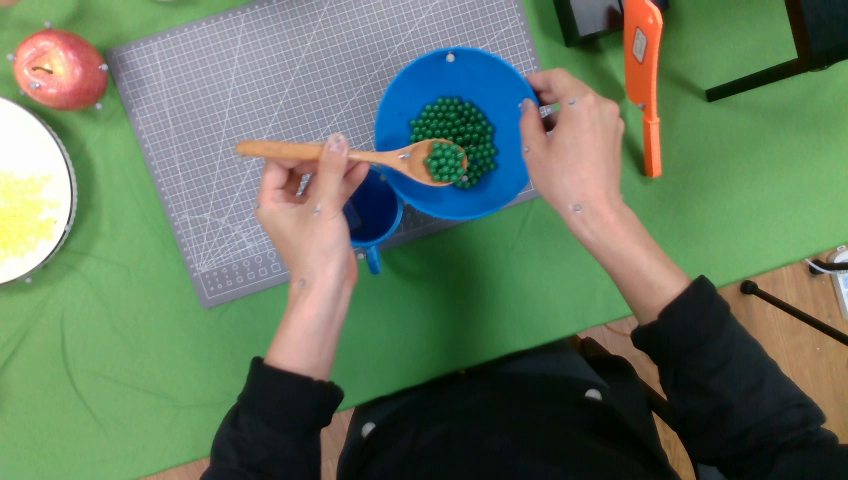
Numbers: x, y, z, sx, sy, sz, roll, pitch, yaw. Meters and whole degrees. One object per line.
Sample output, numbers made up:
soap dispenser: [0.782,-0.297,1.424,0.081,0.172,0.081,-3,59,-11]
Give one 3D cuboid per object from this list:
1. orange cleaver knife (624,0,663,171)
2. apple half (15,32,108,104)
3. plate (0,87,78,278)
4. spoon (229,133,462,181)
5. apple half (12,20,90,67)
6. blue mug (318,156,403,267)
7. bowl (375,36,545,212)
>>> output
orange cleaver knife: [0.237,-0.175,0.657,0.012,0.076,0.213,-19,127,-3]
apple half: [-0.361,-0.169,0.622,0.081,0.074,0.053,-34,100,-4]
plate: [-0.471,-0.062,0.642,0.209,0.038,0.209,0,96,-4]
spoon: [-0.060,-0.074,0.503,0.195,0.021,0.041,1,98,-24]
apple half: [-0.383,-0.201,0.616,0.081,0.081,0.033,-33,101,0]
blue mug: [-0.062,-0.029,0.638,0.082,0.105,0.116,-11,96,-3]
bowl: [0.036,-0.105,0.564,0.151,0.076,0.152,1,100,8]
